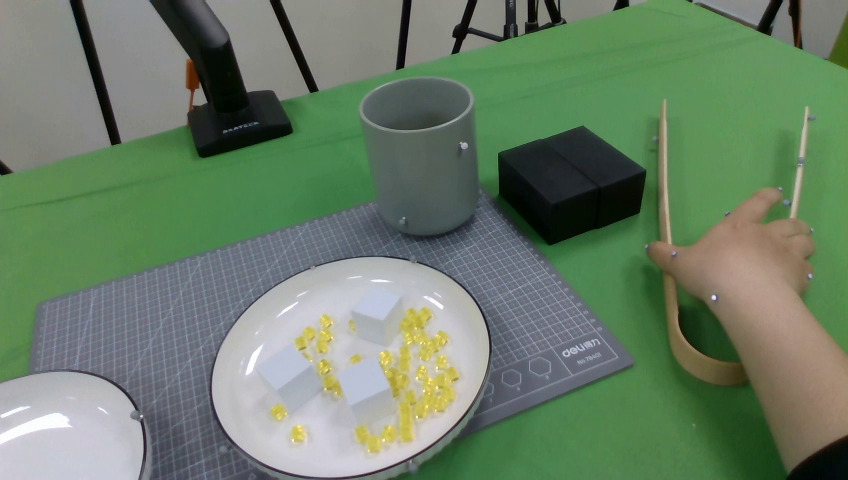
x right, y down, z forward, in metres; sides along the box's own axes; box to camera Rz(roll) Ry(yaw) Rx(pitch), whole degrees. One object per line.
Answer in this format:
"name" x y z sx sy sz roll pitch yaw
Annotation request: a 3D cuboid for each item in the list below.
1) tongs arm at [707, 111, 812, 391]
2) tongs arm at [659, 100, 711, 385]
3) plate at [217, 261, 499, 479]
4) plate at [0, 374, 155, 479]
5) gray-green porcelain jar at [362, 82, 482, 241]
"tongs arm" 0.313 -0.015 0.549 0.050 0.027 0.383 15 46 23
"tongs arm" 0.240 -0.028 0.577 0.028 0.028 0.384 8 43 12
"plate" -0.047 0.098 0.460 0.207 0.039 0.205 -4 40 4
"plate" -0.277 0.182 0.393 0.209 0.038 0.207 -5 41 5
"gray-green porcelain jar" 0.002 -0.071 0.583 0.106 0.128 0.105 -4 40 4
